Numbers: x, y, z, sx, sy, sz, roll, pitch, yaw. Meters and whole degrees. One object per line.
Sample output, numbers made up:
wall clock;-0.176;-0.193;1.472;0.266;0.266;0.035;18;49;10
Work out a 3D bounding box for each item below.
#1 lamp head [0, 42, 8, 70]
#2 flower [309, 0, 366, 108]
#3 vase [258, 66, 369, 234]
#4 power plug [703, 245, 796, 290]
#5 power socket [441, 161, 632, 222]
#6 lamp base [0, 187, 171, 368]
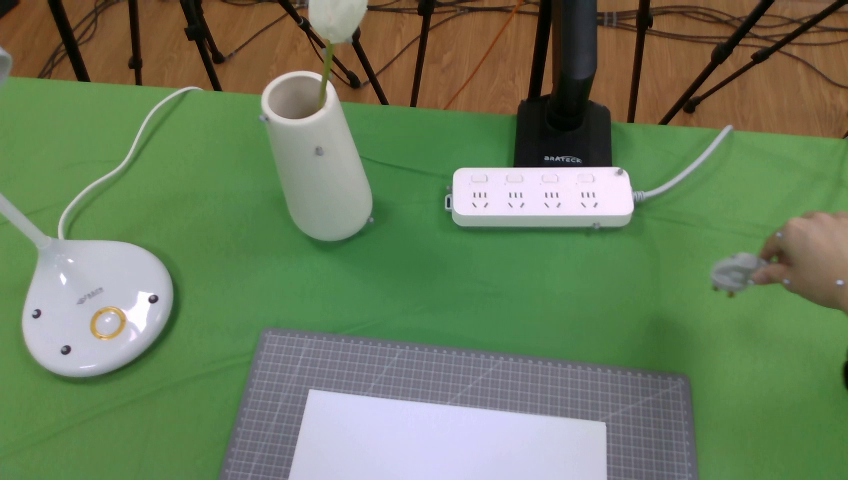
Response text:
lamp head;-0.335;-0.119;0.349;0.123;0.112;0.112;45;65;-17
flower;-0.102;-0.122;0.573;0.044;0.362;0.038;-33;81;-25
vase;-0.118;-0.090;0.650;0.098;0.202;0.097;-1;59;3
power plug;0.306;0.033;0.580;0.072;0.053;0.035;25;56;29
power socket;0.133;-0.059;0.720;0.227;0.033;0.071;1;61;2
lamp base;-0.373;0.018;0.605;0.178;0.182;0.160;36;66;23
